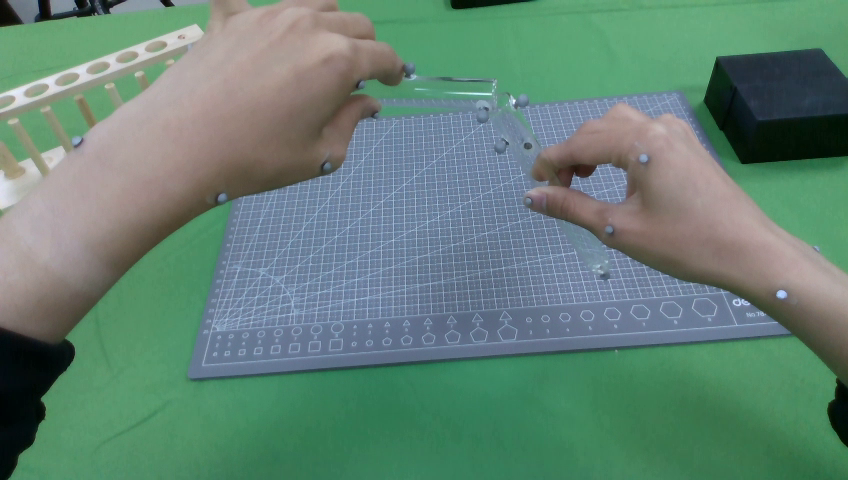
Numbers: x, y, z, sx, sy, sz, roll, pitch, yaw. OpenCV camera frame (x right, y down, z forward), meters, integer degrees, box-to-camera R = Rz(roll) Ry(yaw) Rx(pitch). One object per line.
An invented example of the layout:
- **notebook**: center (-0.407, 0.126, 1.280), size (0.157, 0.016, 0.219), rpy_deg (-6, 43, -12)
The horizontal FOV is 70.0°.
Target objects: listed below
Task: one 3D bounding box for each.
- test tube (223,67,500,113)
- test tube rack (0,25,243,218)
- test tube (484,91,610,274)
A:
- **test tube**: center (-0.036, -0.079, 0.316), size (0.150, 0.017, 0.017), rpy_deg (6, 49, 11)
- **test tube rack**: center (-0.317, -0.122, 0.602), size (0.242, 0.086, 0.066), rpy_deg (-29, 52, -19)
- **test tube**: center (0.076, -0.026, 0.350), size (0.017, 0.152, 0.017), rpy_deg (-23, 41, 23)
